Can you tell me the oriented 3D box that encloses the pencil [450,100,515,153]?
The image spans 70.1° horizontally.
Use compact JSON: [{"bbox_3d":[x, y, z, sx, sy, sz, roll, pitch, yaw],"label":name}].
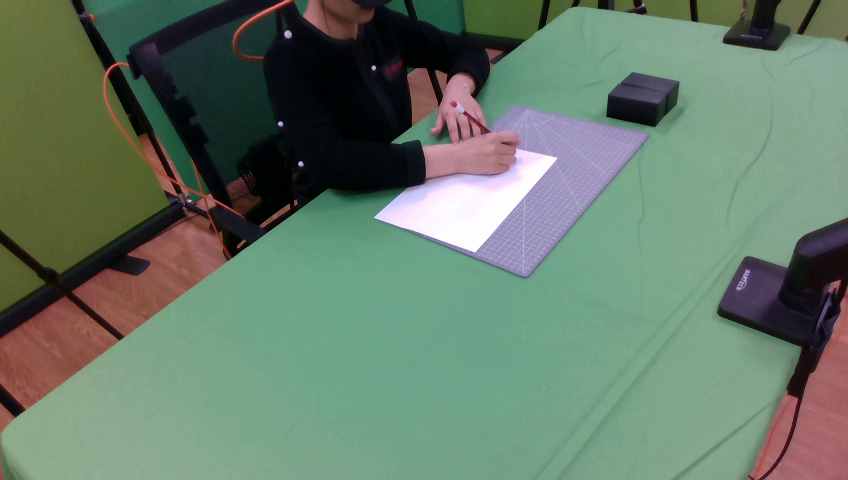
[{"bbox_3d":[0.110,-0.200,1.089,0.012,0.196,0.012,-21,57,36],"label":"pencil"}]
